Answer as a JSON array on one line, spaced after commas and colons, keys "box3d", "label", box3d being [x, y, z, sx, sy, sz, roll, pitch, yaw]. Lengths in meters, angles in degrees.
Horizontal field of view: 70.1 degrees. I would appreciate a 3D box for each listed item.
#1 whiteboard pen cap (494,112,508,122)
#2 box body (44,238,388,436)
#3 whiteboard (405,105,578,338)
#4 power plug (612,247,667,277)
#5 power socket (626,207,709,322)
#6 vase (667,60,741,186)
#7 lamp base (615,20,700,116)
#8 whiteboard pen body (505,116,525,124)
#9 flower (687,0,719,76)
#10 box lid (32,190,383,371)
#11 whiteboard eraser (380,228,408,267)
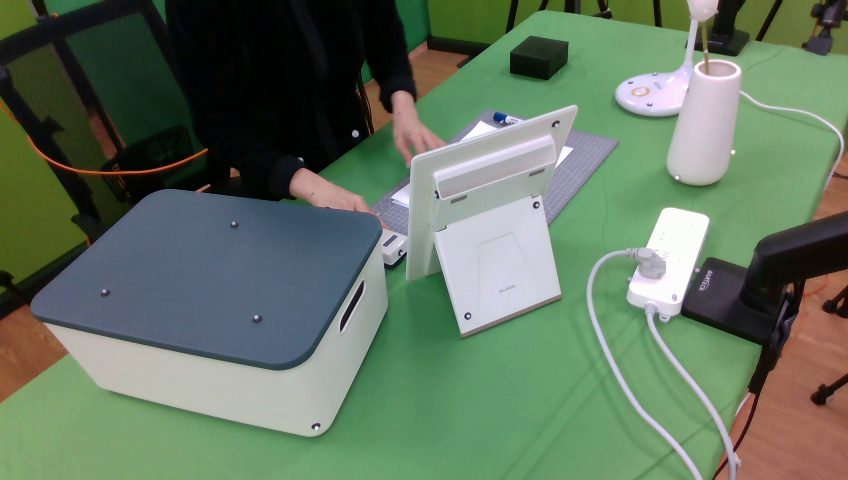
[{"box3d": [0.161, -0.253, 1.248, 0.033, 0.018, 0.018, 27, 51, 36], "label": "whiteboard pen cap"}, {"box3d": [-0.251, 0.088, 0.799, 0.362, 0.161, 0.254, 7, 42, 16], "label": "box body"}, {"box3d": [0.103, 0.003, 0.786, 0.218, 0.306, 0.143, -19, 62, -14], "label": "whiteboard"}, {"box3d": [0.306, 0.031, 0.852, 0.072, 0.053, 0.035, 21, 48, 37], "label": "power plug"}, {"box3d": [0.360, 0.026, 0.886, 0.072, 0.033, 0.227, 17, 46, 27], "label": "power socket"}, {"box3d": [0.463, -0.189, 0.994, 0.098, 0.201, 0.097, -4, 40, 4], "label": "vase"}, {"box3d": [0.484, -0.364, 1.211, 0.180, 0.181, 0.159, -15, 41, -14], "label": "lamp base"}, {"box3d": [0.203, -0.232, 1.213, 0.139, 0.017, 0.017, 28, 51, 36], "label": "whiteboard pen body"}, {"box3d": [0.436, -0.242, 0.934, 0.038, 0.364, 0.043, -24, 49, 8], "label": "flower"}, {"box3d": [-0.257, 0.032, 0.750, 0.370, 0.015, 0.263, 7, 41, 16], "label": "box lid"}, {"box3d": [-0.081, 0.006, 0.962, 0.112, 0.042, 0.056, 20, 48, 28], "label": "whiteboard eraser"}]
